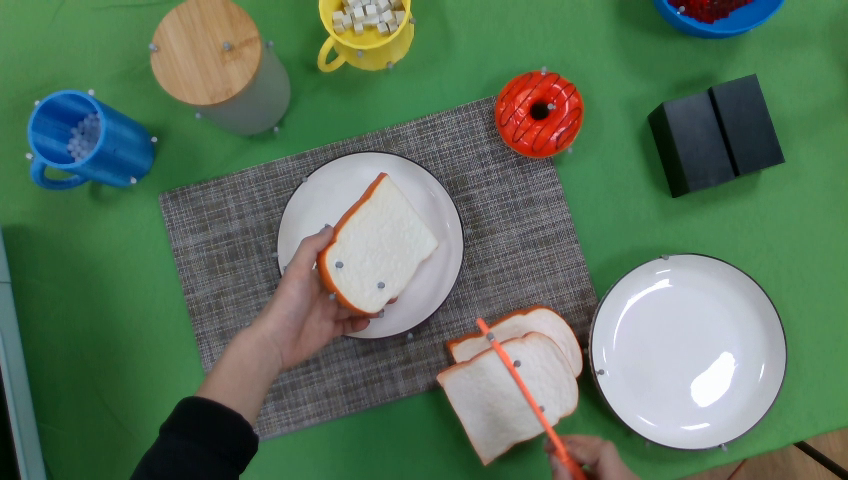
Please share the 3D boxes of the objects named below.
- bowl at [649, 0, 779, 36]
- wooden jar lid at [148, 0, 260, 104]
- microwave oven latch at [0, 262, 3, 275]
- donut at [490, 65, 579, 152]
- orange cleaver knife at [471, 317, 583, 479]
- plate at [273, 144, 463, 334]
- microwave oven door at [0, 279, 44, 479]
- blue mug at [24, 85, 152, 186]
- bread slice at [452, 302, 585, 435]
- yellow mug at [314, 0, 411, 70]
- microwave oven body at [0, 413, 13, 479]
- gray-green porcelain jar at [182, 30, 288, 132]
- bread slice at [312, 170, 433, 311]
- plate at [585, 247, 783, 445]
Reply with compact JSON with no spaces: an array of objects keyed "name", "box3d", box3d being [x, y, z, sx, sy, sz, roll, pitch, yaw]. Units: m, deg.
[{"name":"bowl","box3d":[0.307,-0.287,0.665,0.151,0.077,0.151,0,87,2]},{"name":"wooden jar lid","box3d":[-0.211,-0.183,0.588,0.108,0.021,0.108,0,84,3]},{"name":"microwave oven latch","box3d":[-0.495,0.003,0.672,0.030,0.029,0.079,-12,87,0]},{"name":"donut","box3d":[0.123,-0.146,0.675,0.099,0.048,0.099,0,87,2]},{"name":"orange cleaver knife","box3d":[0.101,0.160,0.551,0.012,0.077,0.212,-33,105,-3]},{"name":"plate","box3d":[-0.061,-0.001,0.675,0.207,0.039,0.207,0,86,2]},{"name":"microwave oven door","box3d":[-0.451,0.209,0.556,0.039,0.244,0.355,-14,85,1]},{"name":"blue mug","box3d":[-0.373,-0.100,0.660,0.116,0.106,0.082,-42,85,-1]},{"name":"bread slice","box3d":[0.108,0.125,0.632,0.134,0.018,0.106,-22,82,-28]},{"name":"yellow mug","box3d":[-0.077,-0.242,0.680,0.100,0.064,0.131,42,89,4]},{"name":"microwave oven body","box3d":[-0.603,0.201,0.566,0.326,0.260,0.441,-13,86,0]},{"name":"gray-green porcelain jar","box3d":[-0.209,-0.178,0.650,0.106,0.126,0.105,0,86,2]},{"name":"bread slice","box3d":[-0.050,0.008,0.617,0.106,0.019,0.131,52,57,-26]},{"name":"plate","box3d":[0.278,0.113,0.661,0.209,0.038,0.208,0,86,2]}]
